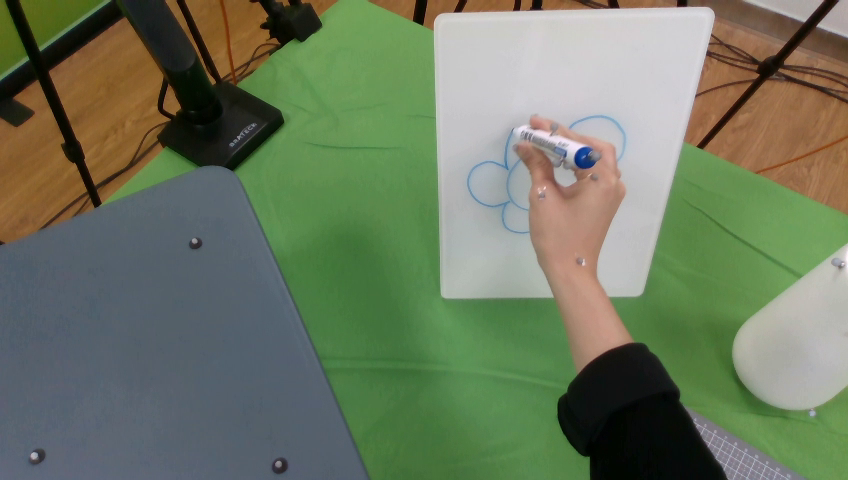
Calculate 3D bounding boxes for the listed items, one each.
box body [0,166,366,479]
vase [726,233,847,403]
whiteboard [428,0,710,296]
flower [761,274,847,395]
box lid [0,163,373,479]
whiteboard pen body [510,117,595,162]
[{"bbox_3d":[-0.212,0.149,0.514,0.254,0.162,0.360,-25,61,-12],"label":"box body"},{"bbox_3d":[0.341,0.068,0.524,0.098,0.202,0.097,-1,57,2],"label":"vase"},{"bbox_3d":[0.118,-0.103,0.608,0.217,0.308,0.142,-1,40,2],"label":"whiteboard"},{"bbox_3d":[0.340,0.012,0.461,0.044,0.365,0.038,24,45,20],"label":"flower"},{"bbox_3d":[-0.216,0.109,0.451,0.263,0.015,0.367,-24,61,-13],"label":"box lid"},{"bbox_3d":[0.091,-0.080,0.459,0.017,0.017,0.139,-16,22,-8],"label":"whiteboard pen body"}]
